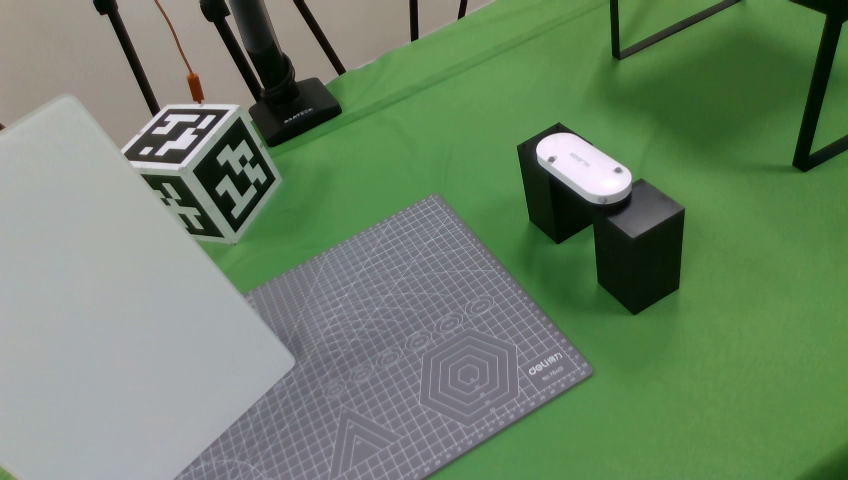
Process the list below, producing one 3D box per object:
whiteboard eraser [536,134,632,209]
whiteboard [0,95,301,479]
[{"bbox_3d":[0.136,-0.062,0.522,0.041,0.019,0.100,-29,45,-12],"label":"whiteboard eraser"},{"bbox_3d":[-0.300,0.066,0.530,0.217,0.308,0.142,-44,29,-22],"label":"whiteboard"}]
